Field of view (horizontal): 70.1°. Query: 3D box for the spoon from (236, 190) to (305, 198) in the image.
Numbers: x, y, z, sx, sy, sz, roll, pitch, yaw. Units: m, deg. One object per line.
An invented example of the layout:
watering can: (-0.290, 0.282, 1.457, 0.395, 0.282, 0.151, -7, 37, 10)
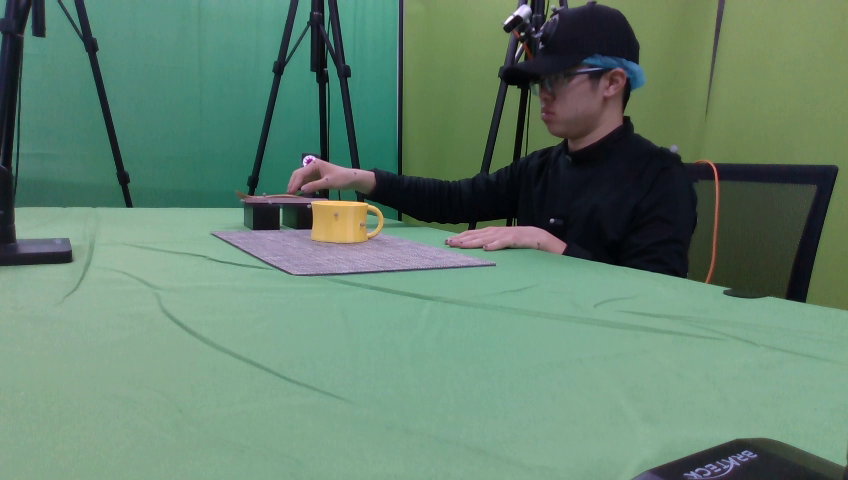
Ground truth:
spoon: (-0.290, -0.088, 1.248, 0.195, 0.021, 0.041, 0, 5, -32)

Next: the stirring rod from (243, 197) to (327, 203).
stirring rod: (-0.271, -0.079, 1.201, 0.177, 0.006, 0.014, -2, 46, -36)

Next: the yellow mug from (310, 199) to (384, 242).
yellow mug: (-0.132, -0.035, 1.054, 0.131, 0.064, 0.099, 0, 8, -23)
